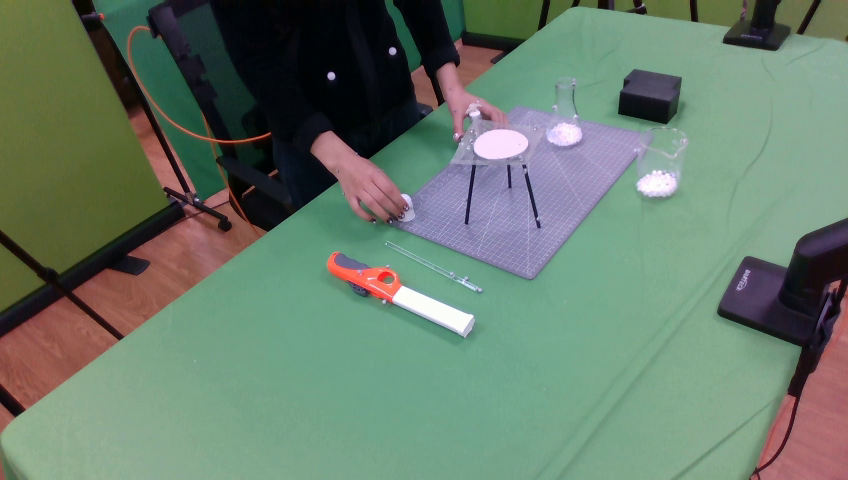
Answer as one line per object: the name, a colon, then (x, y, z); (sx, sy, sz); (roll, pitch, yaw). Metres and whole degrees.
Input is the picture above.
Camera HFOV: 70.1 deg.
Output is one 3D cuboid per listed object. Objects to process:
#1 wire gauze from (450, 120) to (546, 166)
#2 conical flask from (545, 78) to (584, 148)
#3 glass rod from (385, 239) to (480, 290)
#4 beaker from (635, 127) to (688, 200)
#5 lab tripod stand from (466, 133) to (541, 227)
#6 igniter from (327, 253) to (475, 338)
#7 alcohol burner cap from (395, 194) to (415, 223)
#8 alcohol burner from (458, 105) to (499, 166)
wire gauze: (0.117, -0.151, 0.943); (0.121, 0.011, 0.125); (9, 43, 21)
conical flask: (0.264, -0.241, 1.135); (0.075, 0.122, 0.075); (-6, 40, 5)
glass rod: (0.009, 0.037, 0.949); (0.198, 0.008, 0.008); (26, 52, 34)
beaker: (0.388, -0.122, 0.994); (0.074, 0.101, 0.083); (-8, 41, 2)
lab tripod stand: (0.129, -0.099, 0.985); (0.148, 0.132, 0.147); (-7, 38, 6)
igniter: (-0.045, 0.077, 0.898); (0.274, 0.025, 0.057); (22, 60, 32)
alcohol burner cap: (-0.034, -0.056, 1.037); (0.034, 0.048, 0.033); (-5, 38, 5)
alcohol burner: (0.099, -0.199, 1.125); (0.078, 0.120, 0.077); (-6, 42, 6)
